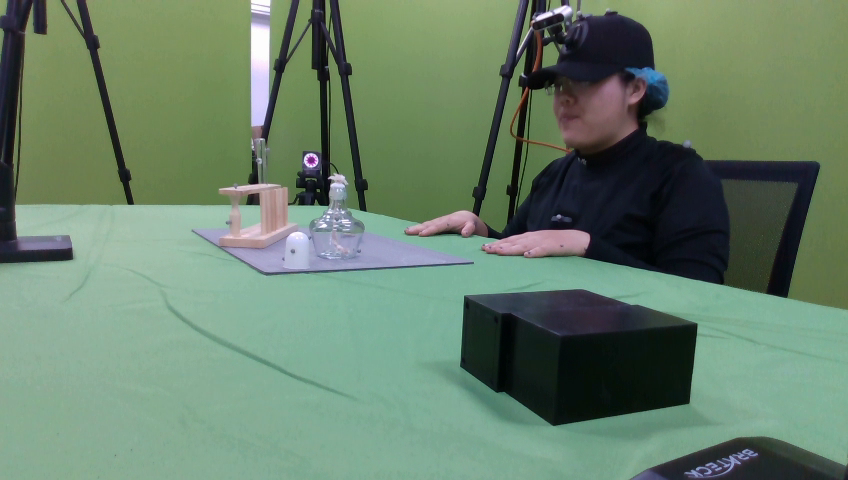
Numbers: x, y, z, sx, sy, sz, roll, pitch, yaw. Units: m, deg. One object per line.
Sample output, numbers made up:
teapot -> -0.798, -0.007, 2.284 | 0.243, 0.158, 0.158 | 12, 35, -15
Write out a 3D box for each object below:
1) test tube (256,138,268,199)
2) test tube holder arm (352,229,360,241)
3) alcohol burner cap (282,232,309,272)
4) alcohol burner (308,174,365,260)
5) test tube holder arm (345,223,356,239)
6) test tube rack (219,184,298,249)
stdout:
test tube -> -0.284, -0.104, 1.066 | 0.017, 0.150, 0.017 | -1, 9, 0
test tube holder arm -> -0.120, -0.009, 1.040 | 0.010, 0.015, 0.087 | 35, 0, -11
alcohol burner cap -> -0.157, 0.014, 0.740 | 0.034, 0.048, 0.034 | 3, 6, 0
alcohol burner -> -0.121, -0.033, 0.841 | 0.078, 0.119, 0.078 | 3, 5, 0
test tube holder arm -> -0.132, -0.018, 1.083 | 0.013, 0.015, 0.178 | 35, 0, -12
test tube rack -> -0.266, -0.046, 1.002 | 0.067, 0.085, 0.242 | 3, 7, 0
